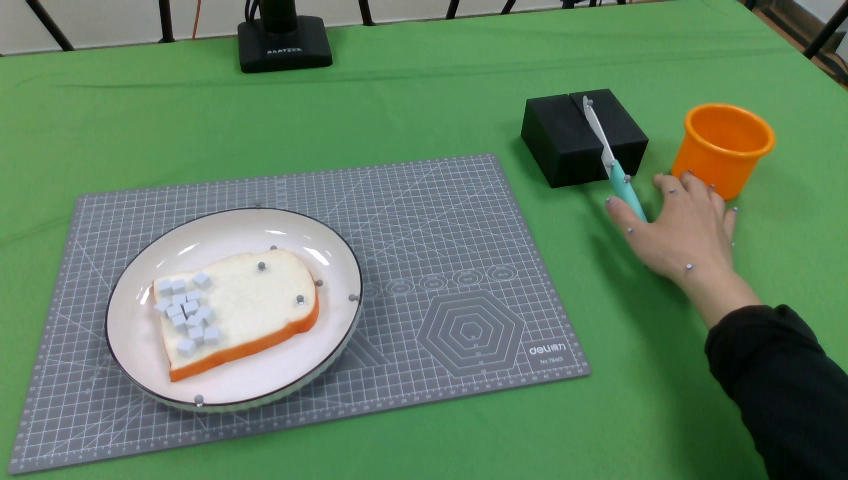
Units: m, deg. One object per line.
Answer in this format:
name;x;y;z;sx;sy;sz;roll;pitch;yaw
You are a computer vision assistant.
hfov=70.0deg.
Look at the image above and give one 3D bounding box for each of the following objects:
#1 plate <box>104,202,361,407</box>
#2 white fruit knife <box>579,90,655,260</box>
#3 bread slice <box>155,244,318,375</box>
plate;-0.157;0.052;0.519;0.209;0.038;0.207;2;48;-2
white fruit knife;0.195;-0.076;0.629;0.016;0.027;0.205;-9;63;-11
bread slice;-0.161;0.049;0.525;0.132;0.019;0.103;-20;52;-18
